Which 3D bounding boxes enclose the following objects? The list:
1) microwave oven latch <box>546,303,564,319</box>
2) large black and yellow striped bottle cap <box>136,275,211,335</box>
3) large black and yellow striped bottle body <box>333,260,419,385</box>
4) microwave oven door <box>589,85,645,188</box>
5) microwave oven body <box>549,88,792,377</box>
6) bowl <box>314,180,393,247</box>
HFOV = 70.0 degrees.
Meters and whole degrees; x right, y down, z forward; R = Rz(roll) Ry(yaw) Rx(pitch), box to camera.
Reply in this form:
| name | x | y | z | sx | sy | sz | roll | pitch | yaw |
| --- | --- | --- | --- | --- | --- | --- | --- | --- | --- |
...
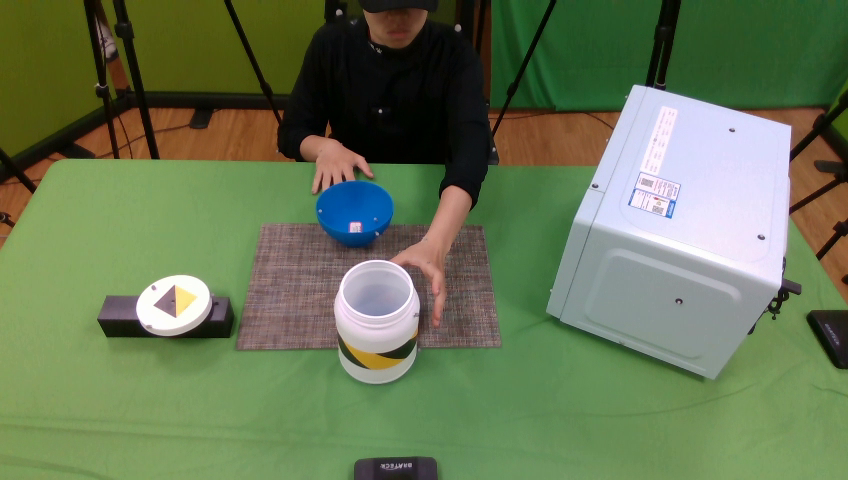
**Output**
| name | x | y | z | sx | sy | sz | roll | pitch | yaw |
| --- | --- | --- | --- | --- | --- | --- | --- | --- | --- |
| microwave oven latch | 0.242 | 0.102 | 1.081 | 0.030 | 0.029 | 0.079 | 21 | 48 | 17 |
| large black and yellow striped bottle cap | -0.412 | 0.105 | 0.999 | 0.115 | 0.019 | 0.114 | 3 | 46 | -3 |
| large black and yellow striped bottle body | -0.075 | 0.129 | 0.950 | 0.131 | 0.185 | 0.130 | 2 | 49 | -2 |
| microwave oven door | 0.341 | -0.107 | 1.149 | 0.039 | 0.245 | 0.354 | 20 | 48 | 15 |
| microwave oven body | 0.456 | -0.028 | 1.088 | 0.325 | 0.261 | 0.440 | 20 | 47 | 16 |
| bowl | -0.135 | -0.039 | 1.181 | 0.151 | 0.077 | 0.150 | 2 | 46 | -2 |
